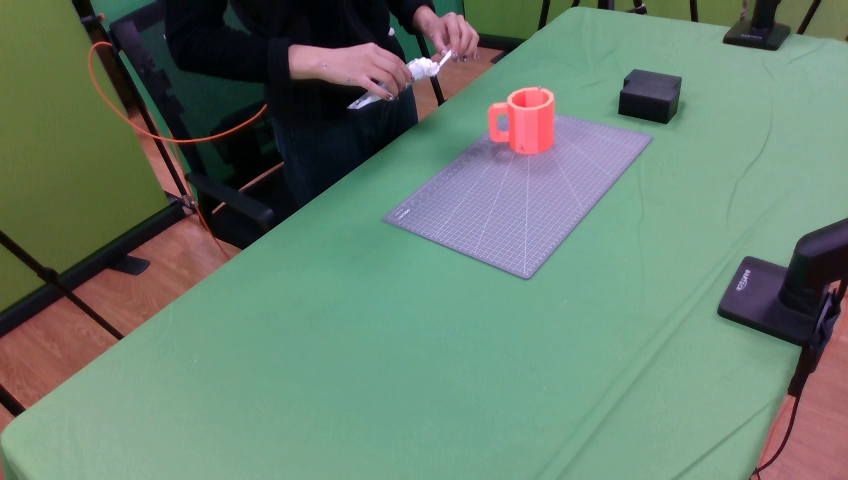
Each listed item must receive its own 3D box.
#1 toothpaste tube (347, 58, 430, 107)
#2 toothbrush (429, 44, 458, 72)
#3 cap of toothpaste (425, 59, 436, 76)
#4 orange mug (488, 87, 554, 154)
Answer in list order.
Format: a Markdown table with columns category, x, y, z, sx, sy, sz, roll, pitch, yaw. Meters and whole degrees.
| category | x | y | z | sx | sy | sz | roll | pitch | yaw |
| --- | --- | --- | --- | --- | --- | --- | --- | --- | --- |
| toothpaste tube | -0.057 | -0.268 | 1.036 | 0.165 | 0.034 | 0.054 | -34 | 22 | -19 |
| toothbrush | 0.041 | -0.344 | 1.136 | 0.016 | 0.014 | 0.182 | 13 | 32 | 11 |
| cap of toothpaste | 0.007 | -0.311 | 1.085 | 0.037 | 0.011 | 0.037 | 14 | 63 | -28 |
| orange mug | 0.185 | -0.227 | 1.151 | 0.126 | 0.101 | 0.083 | 1 | 41 | 5 |
